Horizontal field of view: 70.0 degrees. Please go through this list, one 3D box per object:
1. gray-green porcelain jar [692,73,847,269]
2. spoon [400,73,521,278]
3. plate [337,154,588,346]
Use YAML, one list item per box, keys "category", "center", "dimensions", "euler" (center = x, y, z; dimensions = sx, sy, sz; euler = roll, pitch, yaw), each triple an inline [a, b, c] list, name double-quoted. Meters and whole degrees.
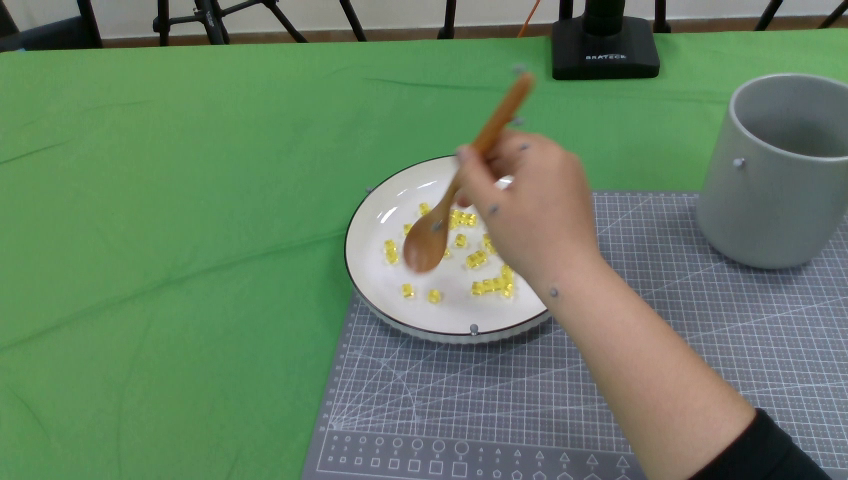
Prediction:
- category: "gray-green porcelain jar"
  center: [0.276, -0.048, 0.477]
  dimensions: [0.106, 0.128, 0.105]
  euler: [-4, 48, 4]
- category: "spoon"
  center: [0.021, -0.036, 0.426]
  dimensions: [0.022, 0.195, 0.041]
  euler: [-15, 61, -31]
- category: "plate"
  center: [0.032, 0.007, 0.519]
  dimensions: [0.207, 0.039, 0.205]
  euler: [-3, 48, 4]
